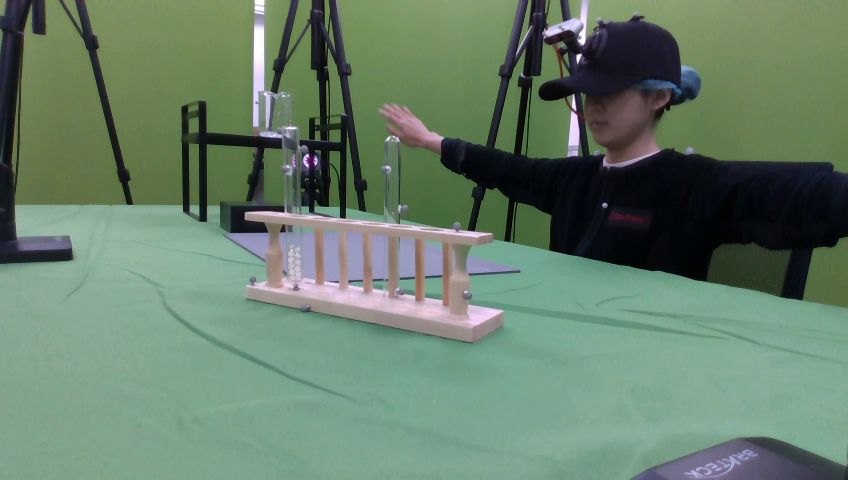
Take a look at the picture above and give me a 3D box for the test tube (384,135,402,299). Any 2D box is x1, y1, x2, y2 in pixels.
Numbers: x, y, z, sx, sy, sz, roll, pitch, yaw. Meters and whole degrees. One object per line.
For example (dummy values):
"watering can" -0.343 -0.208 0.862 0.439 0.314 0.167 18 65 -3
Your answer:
"test tube" -0.028 -0.019 0.550 0.017 0.150 0.017 1 9 0

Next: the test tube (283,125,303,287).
"test tube" -0.121 -0.030 0.558 0.017 0.150 0.017 1 11 0

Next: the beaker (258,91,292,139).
"beaker" -0.331 -0.276 1.343 0.074 0.100 0.083 0 8 -20

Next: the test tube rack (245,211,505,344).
"test tube rack" -0.049 0.024 0.547 0.241 0.085 0.067 7 8 28
